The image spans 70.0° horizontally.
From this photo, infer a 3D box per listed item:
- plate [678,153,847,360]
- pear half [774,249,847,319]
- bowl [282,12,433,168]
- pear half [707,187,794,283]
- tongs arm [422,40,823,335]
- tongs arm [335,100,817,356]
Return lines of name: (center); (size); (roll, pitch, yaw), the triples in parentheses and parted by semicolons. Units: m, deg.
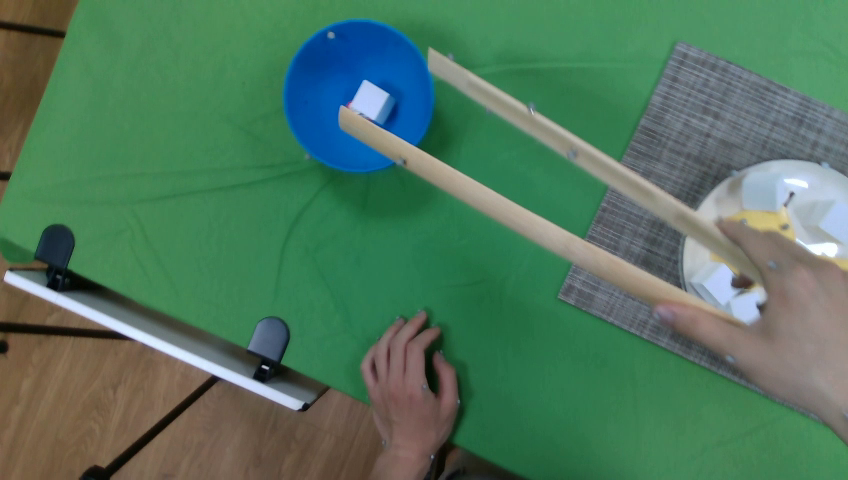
plate: (0.363, 0.016, 0.620); (0.207, 0.039, 0.207); (0, 91, 4)
pear half: (0.404, 0.044, 0.612); (0.088, 0.031, 0.070); (-34, 92, 10)
bowl: (-0.063, -0.146, 0.629); (0.151, 0.077, 0.151); (0, 91, 4)
pear half: (0.341, -0.012, 0.607); (0.076, 0.056, 0.110); (35, 89, -1)
tongs arm: (0.128, -0.055, 0.481); (0.382, 0.027, 0.050); (37, 58, 20)
tongs arm: (0.088, -0.017, 0.451); (0.385, 0.028, 0.028); (30, 53, 16)
